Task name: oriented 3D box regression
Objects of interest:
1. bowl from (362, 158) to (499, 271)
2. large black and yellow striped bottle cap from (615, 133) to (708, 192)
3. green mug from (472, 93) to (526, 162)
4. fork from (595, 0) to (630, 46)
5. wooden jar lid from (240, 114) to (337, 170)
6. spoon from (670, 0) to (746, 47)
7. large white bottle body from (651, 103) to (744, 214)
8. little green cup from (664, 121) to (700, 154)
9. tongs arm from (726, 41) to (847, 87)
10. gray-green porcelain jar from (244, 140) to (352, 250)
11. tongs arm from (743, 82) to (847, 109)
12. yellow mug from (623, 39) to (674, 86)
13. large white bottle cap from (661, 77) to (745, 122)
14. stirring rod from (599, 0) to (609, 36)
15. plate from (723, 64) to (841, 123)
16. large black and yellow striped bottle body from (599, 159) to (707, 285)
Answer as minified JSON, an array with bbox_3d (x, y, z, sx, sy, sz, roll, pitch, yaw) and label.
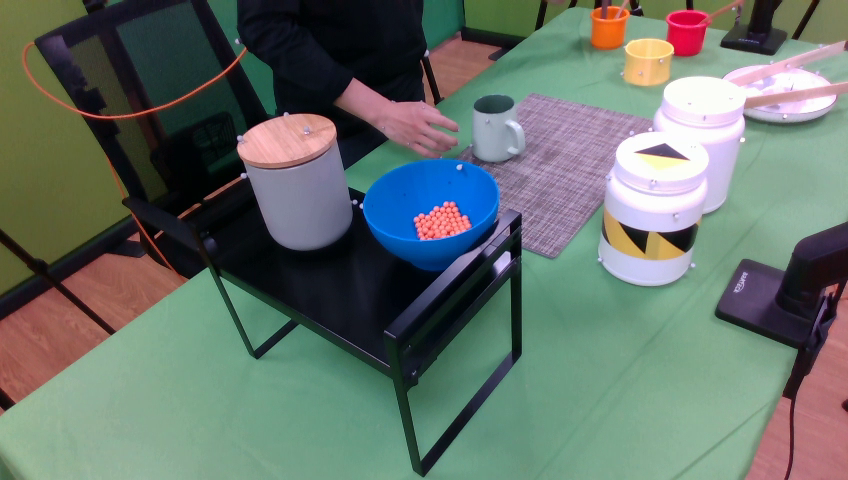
[{"bbox_3d":[0.011,-0.019,0.679,0.151,0.077,0.150,-5,41,5],"label":"bowl"},{"bbox_3d":[0.312,-0.105,0.798,0.115,0.019,0.114,-5,41,5],"label":"large black and yellow striped bottle cap"},{"bbox_3d":[0.144,-0.202,1.122,0.093,0.105,0.124,-29,45,-23],"label":"green mug"},{"bbox_3d":[0.480,-0.555,1.453,0.028,0.019,0.207,42,104,41],"label":"fork"},{"bbox_3d":[-0.149,-0.106,0.674,0.108,0.021,0.108,-6,39,5],"label":"wooden jar lid"},{"bbox_3d":[0.629,-0.484,1.350,0.022,0.193,0.042,48,54,-7],"label":"spoon"},{"bbox_3d":[0.426,-0.146,0.958,0.130,0.185,0.130,-4,40,4],"label":"large white bottle body"},{"bbox_3d":[0.473,-0.188,1.113,0.061,0.039,0.061,-5,40,5],"label":"little green cup"},{"bbox_3d":[0.712,-0.332,1.194,0.386,0.026,0.050,-18,44,-16],"label":"tongs arm"},{"bbox_3d":[-0.144,-0.060,0.714,0.106,0.127,0.105,-4,41,4],"label":"gray-green porcelain jar"},{"bbox_3d":[0.738,-0.282,1.134,0.388,0.028,0.028,-9,46,-5],"label":"tongs arm"},{"bbox_3d":[0.484,-0.398,1.333,0.100,0.064,0.130,-18,41,-11],"label":"yellow mug"},{"bbox_3d":[0.415,-0.210,0.904,0.115,0.018,0.114,-4,40,4],"label":"large white bottle cap"},{"bbox_3d":[0.432,-0.577,1.435,0.014,0.176,0.006,9,25,22],"label":"stirring rod"},{"bbox_3d":[0.695,-0.282,1.189,0.207,0.039,0.206,-4,40,4],"label":"plate"},{"bbox_3d":[0.320,-0.042,0.854,0.131,0.185,0.130,-4,41,4],"label":"large black and yellow striped bottle body"}]
